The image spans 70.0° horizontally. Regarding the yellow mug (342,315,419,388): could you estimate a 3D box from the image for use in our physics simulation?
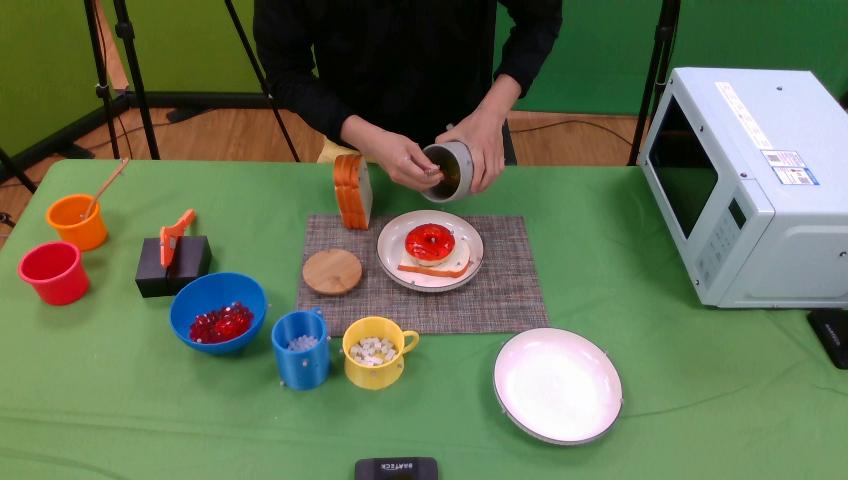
[{"bbox_3d":[-0.068,0.177,0.990,0.131,0.064,0.099,-15,50,-19],"label":"yellow mug"}]

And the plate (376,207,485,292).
[{"bbox_3d":[0.012,0.021,1.159,0.209,0.038,0.208,2,47,-2],"label":"plate"}]

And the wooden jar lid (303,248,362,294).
[{"bbox_3d":[-0.169,0.059,1.122,0.108,0.021,0.107,2,45,-2],"label":"wooden jar lid"}]

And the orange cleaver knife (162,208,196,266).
[{"bbox_3d":[-0.454,-0.010,1.129,0.012,0.077,0.210,-1,17,-6],"label":"orange cleaver knife"}]

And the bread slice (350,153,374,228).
[{"bbox_3d":[-0.124,-0.104,1.207,0.018,0.135,0.106,-1,48,7],"label":"bread slice"}]

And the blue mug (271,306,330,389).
[{"bbox_3d":[-0.188,0.163,0.969,0.082,0.106,0.116,15,47,10],"label":"blue mug"}]

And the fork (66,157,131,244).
[{"bbox_3d":[-0.608,-0.074,1.132,0.207,0.019,0.028,-52,49,10],"label":"fork"}]

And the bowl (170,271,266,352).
[{"bbox_3d":[-0.333,0.132,1.006,0.151,0.077,0.150,2,46,-2],"label":"bowl"}]

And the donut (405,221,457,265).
[{"bbox_3d":[0.014,0.004,1.137,0.099,0.048,0.098,0,46,0],"label":"donut"}]

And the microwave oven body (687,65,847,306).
[{"bbox_3d":[0.669,-0.111,1.176,0.326,0.261,0.439,0,46,-3],"label":"microwave oven body"}]

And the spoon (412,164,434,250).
[{"bbox_3d":[0.001,-0.055,1.055,0.021,0.194,0.041,12,43,-4],"label":"spoon"}]

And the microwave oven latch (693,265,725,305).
[{"bbox_3d":[0.522,0.081,1.115,0.030,0.029,0.078,2,46,-1],"label":"microwave oven latch"}]

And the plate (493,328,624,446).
[{"bbox_3d":[0.213,0.236,0.974,0.208,0.039,0.206,2,46,-2],"label":"plate"}]

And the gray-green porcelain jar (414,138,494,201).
[{"bbox_3d":[0.060,-0.131,1.110,0.105,0.106,0.126,34,30,25],"label":"gray-green porcelain jar"}]

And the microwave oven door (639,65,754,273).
[{"bbox_3d":[0.522,-0.147,1.192,0.039,0.245,0.353,0,47,-3],"label":"microwave oven door"}]

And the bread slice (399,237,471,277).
[{"bbox_3d":[0.026,0.024,1.160,0.131,0.019,0.104,8,47,7],"label":"bread slice"}]
